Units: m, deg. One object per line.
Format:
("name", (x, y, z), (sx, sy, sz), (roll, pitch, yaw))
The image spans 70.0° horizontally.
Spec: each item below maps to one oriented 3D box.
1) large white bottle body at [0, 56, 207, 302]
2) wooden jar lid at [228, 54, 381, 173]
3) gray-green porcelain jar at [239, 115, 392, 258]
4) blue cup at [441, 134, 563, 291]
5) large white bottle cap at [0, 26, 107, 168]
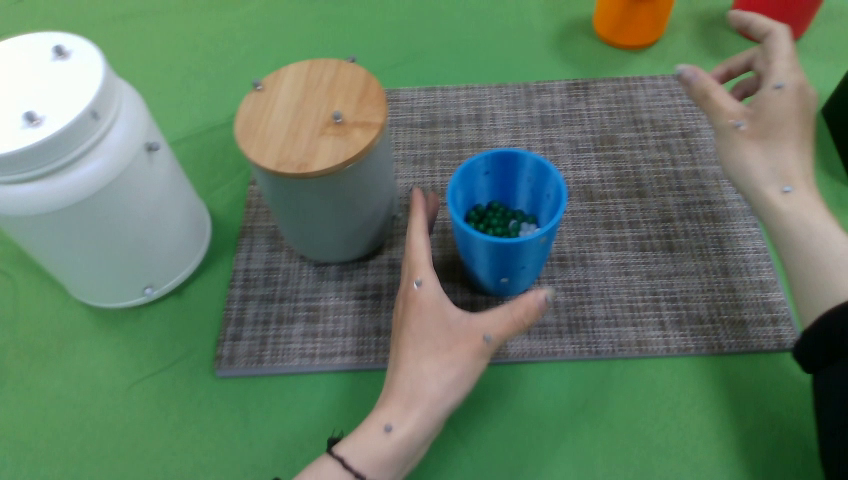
("large white bottle body", (-0.260, -0.048, 0.460), (0.130, 0.186, 0.129), (-1, 57, 2))
("wooden jar lid", (-0.084, -0.089, 0.433), (0.108, 0.021, 0.107), (-3, 58, 5))
("gray-green porcelain jar", (-0.081, -0.054, 0.485), (0.106, 0.127, 0.105), (-1, 58, 3))
("blue cup", (0.058, -0.010, 0.465), (0.092, 0.101, 0.092), (-2, 57, 3))
("large white bottle cap", (-0.265, -0.094, 0.388), (0.115, 0.018, 0.114), (-1, 58, 2))
